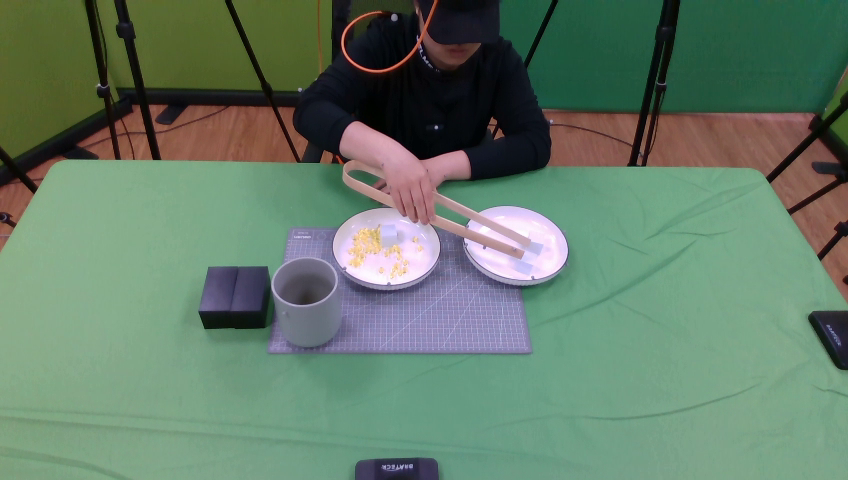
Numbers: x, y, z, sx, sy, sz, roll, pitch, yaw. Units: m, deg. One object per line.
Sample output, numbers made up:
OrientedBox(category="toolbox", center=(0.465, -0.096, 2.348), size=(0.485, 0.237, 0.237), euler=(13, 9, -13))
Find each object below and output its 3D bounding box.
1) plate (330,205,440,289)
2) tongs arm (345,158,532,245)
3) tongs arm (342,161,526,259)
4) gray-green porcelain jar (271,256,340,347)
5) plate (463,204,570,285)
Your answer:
OrientedBox(category="plate", center=(-0.074, 0.017, 1.160), size=(0.208, 0.039, 0.206), euler=(2, 46, -2))
OrientedBox(category="tongs arm", center=(0.024, -0.075, 1.161), size=(0.387, 0.028, 0.028), euler=(25, 54, 8))
OrientedBox(category="tongs arm", center=(0.014, -0.059, 1.145), size=(0.384, 0.026, 0.050), euler=(22, 50, 6))
OrientedBox(category="gray-green porcelain jar", center=(-0.193, 0.107, 1.004), size=(0.106, 0.127, 0.105), euler=(2, 46, -2))
OrientedBox(category="plate", center=(0.178, 0.012, 1.184), size=(0.209, 0.038, 0.208), euler=(3, 46, -3))
